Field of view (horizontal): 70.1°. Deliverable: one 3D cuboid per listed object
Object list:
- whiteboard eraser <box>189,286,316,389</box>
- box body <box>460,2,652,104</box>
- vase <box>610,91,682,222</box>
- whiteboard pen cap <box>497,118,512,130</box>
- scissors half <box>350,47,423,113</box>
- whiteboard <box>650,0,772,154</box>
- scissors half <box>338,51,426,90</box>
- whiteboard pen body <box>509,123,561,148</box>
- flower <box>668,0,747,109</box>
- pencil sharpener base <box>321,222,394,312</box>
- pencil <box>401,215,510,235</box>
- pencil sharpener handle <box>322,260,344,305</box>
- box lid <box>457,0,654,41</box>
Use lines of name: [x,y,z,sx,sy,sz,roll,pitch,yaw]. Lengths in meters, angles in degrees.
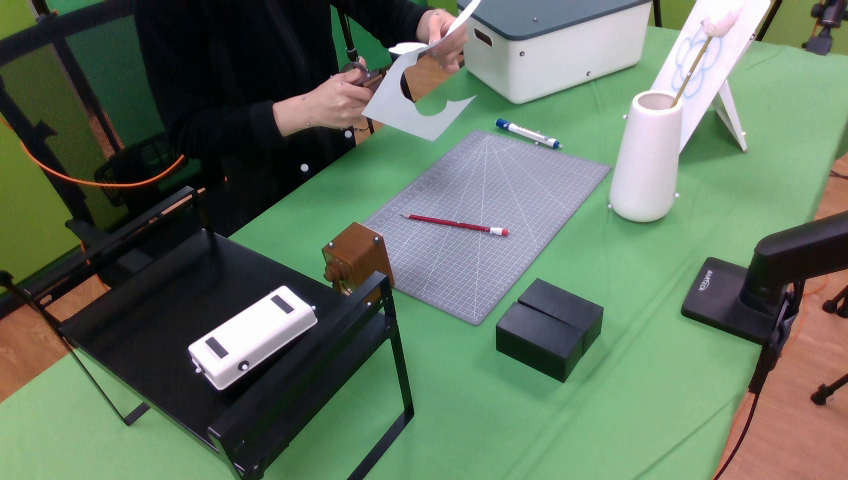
whiteboard eraser: [-0.166,0.096,0.593,0.113,0.042,0.055,-36,47,-29]
box body: [0.291,-0.465,1.371,0.365,0.161,0.252,-22,42,-16]
vase: [0.348,-0.125,0.935,0.098,0.201,0.097,-3,40,3]
whiteboard pen cap: [0.165,-0.235,1.227,0.033,0.018,0.018,31,53,31]
scissors half: [-0.057,-0.241,0.915,0.174,0.040,0.013,-32,7,45]
whiteboard: [0.543,-0.298,1.076,0.144,0.305,0.216,12,40,-7]
scissors half: [-0.067,-0.259,0.910,0.174,0.040,0.013,-3,32,37]
whiteboard pen body: [0.209,-0.211,1.195,0.139,0.017,0.017,30,52,33]
flower: [0.354,-0.187,0.879,0.038,0.362,0.044,30,48,14]
pencil sharpener base: [-0.096,0.041,0.873,0.061,0.107,0.077,26,54,32]
pencil: [0.049,-0.027,1.007,0.193,0.012,0.012,10,43,21]
pencil sharpener handle: [-0.131,0.061,0.839,0.035,0.068,0.031,29,56,27]
box lid: [0.285,-0.522,1.323,0.373,0.015,0.261,-22,43,-16]
